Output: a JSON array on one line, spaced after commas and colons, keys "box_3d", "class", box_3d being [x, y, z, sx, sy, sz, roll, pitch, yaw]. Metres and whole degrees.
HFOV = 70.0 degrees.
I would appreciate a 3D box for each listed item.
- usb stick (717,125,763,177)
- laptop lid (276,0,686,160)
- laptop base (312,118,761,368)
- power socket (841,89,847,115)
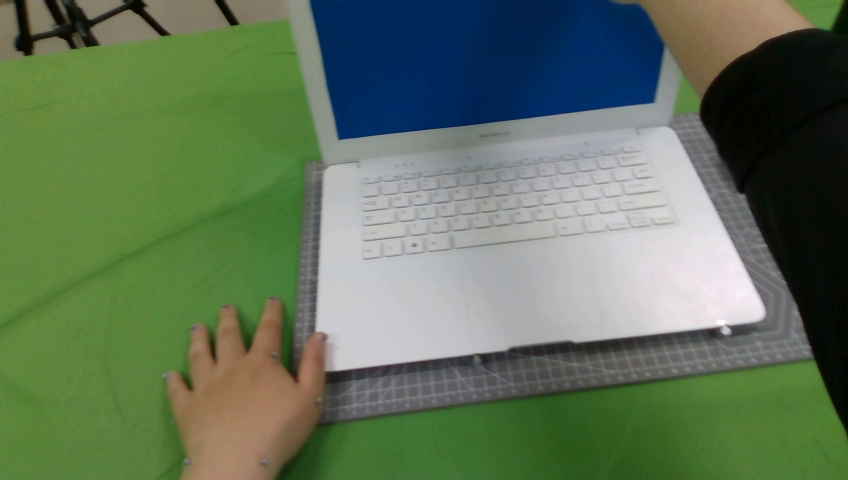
[{"box_3d": [0.298, -0.090, 0.578, 0.021, 0.027, 0.058, -8, 49, 2], "class": "usb stick"}, {"box_3d": [0.056, -0.185, 0.537, 0.357, 0.244, 0.013, -8, 43, 1], "class": "laptop lid"}, {"box_3d": [0.078, -0.008, 0.542, 0.354, 0.023, 0.233, -7, 53, 0], "class": "laptop base"}, {"box_3d": [0.467, -0.080, 0.550, 0.072, 0.033, 0.224, -7, 49, 2], "class": "power socket"}]
